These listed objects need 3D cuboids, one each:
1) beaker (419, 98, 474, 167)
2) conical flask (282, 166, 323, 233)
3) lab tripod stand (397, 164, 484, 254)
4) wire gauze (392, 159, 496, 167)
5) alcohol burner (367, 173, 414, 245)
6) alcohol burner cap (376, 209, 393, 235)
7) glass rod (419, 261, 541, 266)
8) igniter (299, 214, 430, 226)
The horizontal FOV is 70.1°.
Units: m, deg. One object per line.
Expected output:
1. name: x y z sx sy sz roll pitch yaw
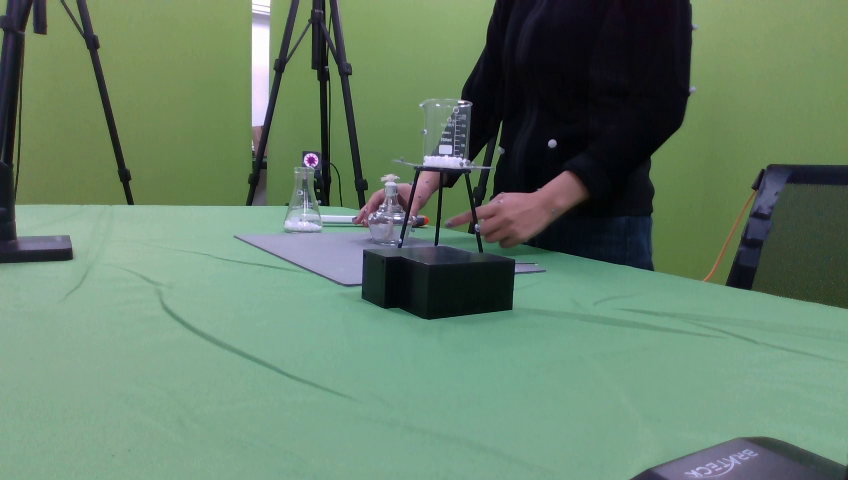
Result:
1. beaker: 0.032 -0.161 0.913 0.084 0.100 0.074 1 7 -10
2. conical flask: -0.225 -0.076 1.129 0.075 0.122 0.075 2 8 0
3. lab tripod stand: 0.029 -0.049 0.930 0.148 0.131 0.148 4 7 0
4. wire gauze: 0.032 -0.114 0.923 0.124 0.011 0.122 5 5 32
5. alcohol burner: -0.055 -0.051 0.997 0.078 0.119 0.078 2 10 0
6. alcohol burner cap: -0.075 -0.036 1.150 0.034 0.048 0.034 2 7 0
7. glass rod: 0.080 0.031 0.807 0.201 0.008 0.008 1 6 -32
8. igniter: -0.123 -0.044 1.281 0.278 0.025 0.057 0 -3 -19
